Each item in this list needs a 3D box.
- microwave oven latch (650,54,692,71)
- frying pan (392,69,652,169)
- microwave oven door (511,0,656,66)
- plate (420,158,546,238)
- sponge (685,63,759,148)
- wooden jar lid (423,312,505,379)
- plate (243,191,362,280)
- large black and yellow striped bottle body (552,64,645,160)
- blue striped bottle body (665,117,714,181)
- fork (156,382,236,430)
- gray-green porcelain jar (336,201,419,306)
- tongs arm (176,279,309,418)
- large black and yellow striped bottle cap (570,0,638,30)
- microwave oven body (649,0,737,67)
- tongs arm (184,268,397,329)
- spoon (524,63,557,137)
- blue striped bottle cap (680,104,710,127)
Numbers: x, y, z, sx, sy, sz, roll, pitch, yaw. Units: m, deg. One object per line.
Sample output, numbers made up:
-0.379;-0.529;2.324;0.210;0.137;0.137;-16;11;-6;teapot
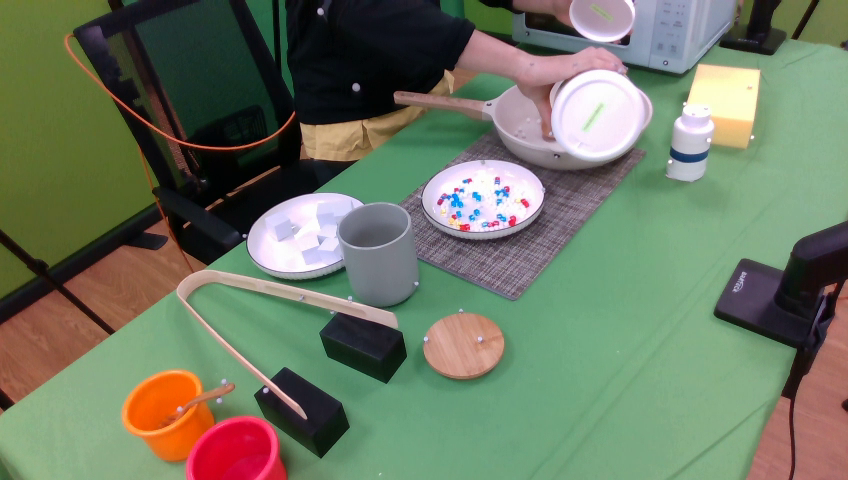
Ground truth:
0.530;-0.386;1.301;0.078;0.029;0.030;23;50;31;microwave oven latch
0.175;-0.248;1.166;0.487;0.103;0.306;12;43;9;frying pan
0.351;-0.540;1.349;0.353;0.245;0.039;24;50;31;microwave oven door
0.099;-0.067;1.017;0.209;0.038;0.208;-4;40;4;plate
0.569;-0.263;1.164;0.117;0.061;0.207;12;45;22;sponge
0.053;0.142;0.800;0.108;0.021;0.108;-5;39;4;wooden jar lid
-0.187;-0.005;0.992;0.207;0.039;0.206;-4;41;4;plate
0.268;-0.207;0.950;0.130;0.131;0.184;2;21;11;large black and yellow striped bottle body
0.450;-0.166;1.022;0.063;0.121;0.063;-5;41;5;blue striped bottle body
-0.262;0.189;0.690;0.018;0.206;0.028;48;43;-7;fork
-0.064;0.024;0.872;0.106;0.127;0.105;-4;41;4;gray-green porcelain jar
-0.254;0.132;0.801;0.028;0.028;0.384;-41;40;-23;tongs arm
0.308;-0.410;1.038;0.115;0.019;0.114;0;67;2;large black and yellow striped bottle cap
0.475;-0.602;1.411;0.438;0.261;0.327;23;50;32;microwave oven body
-0.202;0.084;0.848;0.382;0.027;0.051;11;45;35;tongs arm
0.234;-0.282;1.204;0.041;0.022;0.192;-14;68;1;spoon
0.443;-0.205;0.989;0.044;0.021;0.044;-1;41;2;blue striped bottle cap
